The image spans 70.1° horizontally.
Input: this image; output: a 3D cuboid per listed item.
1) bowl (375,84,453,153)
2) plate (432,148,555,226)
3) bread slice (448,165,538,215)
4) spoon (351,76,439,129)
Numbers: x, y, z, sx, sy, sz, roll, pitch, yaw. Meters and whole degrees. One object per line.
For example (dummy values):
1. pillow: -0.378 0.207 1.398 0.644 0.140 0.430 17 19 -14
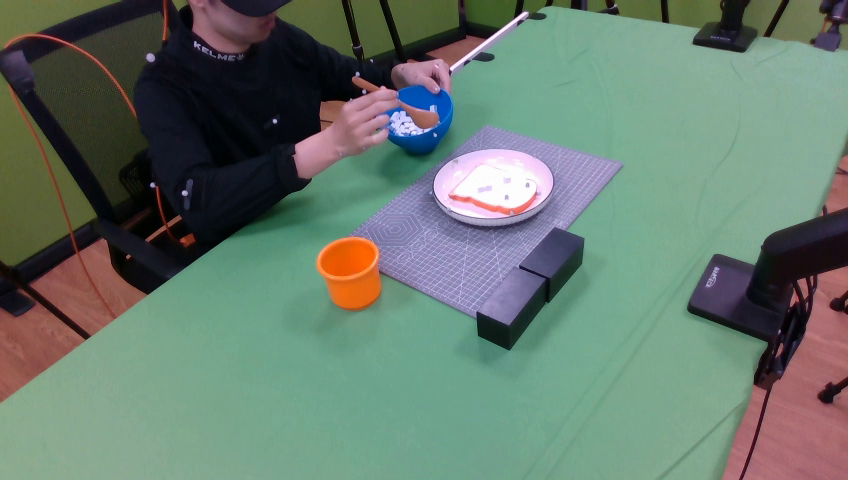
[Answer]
1. bowl: -0.011 -0.222 1.169 0.151 0.077 0.150 -7 51 10
2. plate: 0.119 -0.087 1.037 0.209 0.038 0.208 -4 40 4
3. bread slice: 0.126 -0.085 1.038 0.133 0.018 0.107 16 45 27
4. spoon: -0.047 -0.227 1.002 0.041 0.195 0.021 -38 50 31
